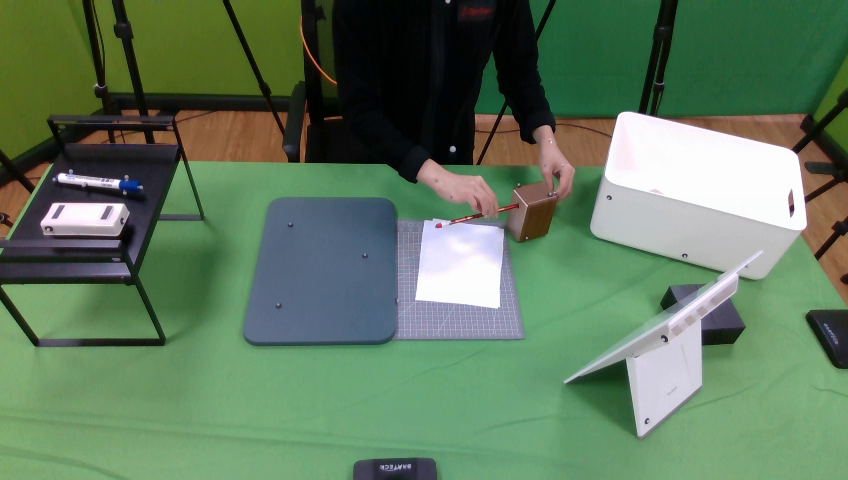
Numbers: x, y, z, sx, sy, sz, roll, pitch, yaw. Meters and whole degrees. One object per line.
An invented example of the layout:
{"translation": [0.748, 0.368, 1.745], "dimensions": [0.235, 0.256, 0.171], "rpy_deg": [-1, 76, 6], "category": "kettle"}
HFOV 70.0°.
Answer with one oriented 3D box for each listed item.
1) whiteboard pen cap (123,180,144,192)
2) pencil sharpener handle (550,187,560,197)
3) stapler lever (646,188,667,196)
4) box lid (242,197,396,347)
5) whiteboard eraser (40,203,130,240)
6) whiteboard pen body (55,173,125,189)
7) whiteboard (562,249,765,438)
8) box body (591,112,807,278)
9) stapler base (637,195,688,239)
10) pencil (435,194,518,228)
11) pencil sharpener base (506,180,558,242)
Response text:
{"translation": [-0.479, -0.089, 0.993], "dimensions": [0.033, 0.018, 0.018], "rpy_deg": [7, 46, 14], "category": "whiteboard pen cap"}
{"translation": [0.259, -0.090, 1.223], "dimensions": [0.031, 0.067, 0.036], "rpy_deg": [-16, 91, -19], "category": "pencil sharpener handle"}
{"translation": [0.507, -0.075, 1.262], "dimensions": [0.027, 0.040, 0.117], "rpy_deg": [-14, 46, -19], "category": "stapler lever"}
{"translation": [-0.186, 0.046, 1.147], "dimensions": [0.263, 0.015, 0.369], "rpy_deg": [0, 46, -3], "category": "box lid"}
{"translation": [-0.513, -0.028, 0.922], "dimensions": [0.113, 0.042, 0.055], "rpy_deg": [1, 48, -3], "category": "whiteboard eraser"}
{"translation": [-0.539, -0.095, 0.998], "dimensions": [0.141, 0.017, 0.017], "rpy_deg": [6, 46, 6], "category": "whiteboard pen body"}
{"translation": [0.386, 0.175, 0.905], "dimensions": [0.217, 0.306, 0.143], "rpy_deg": [-26, 72, -26], "category": "whiteboard"}
{"translation": [0.540, -0.092, 1.230], "dimensions": [0.363, 0.161, 0.253], "rpy_deg": [16, 47, 11], "category": "box body"}
{"translation": [0.507, -0.055, 1.280], "dimensions": [0.041, 0.024, 0.129], "rpy_deg": [-14, 47, -19], "category": "stapler base"}
{"translation": [0.109, -0.059, 1.151], "dimensions": [0.194, 0.012, 0.012], "rpy_deg": [-21, 51, -15], "category": "pencil"}
{"translation": [0.216, -0.058, 1.211], "dimensions": [0.077, 0.107, 0.061], "rpy_deg": [-16, 49, -19], "category": "pencil sharpener base"}
